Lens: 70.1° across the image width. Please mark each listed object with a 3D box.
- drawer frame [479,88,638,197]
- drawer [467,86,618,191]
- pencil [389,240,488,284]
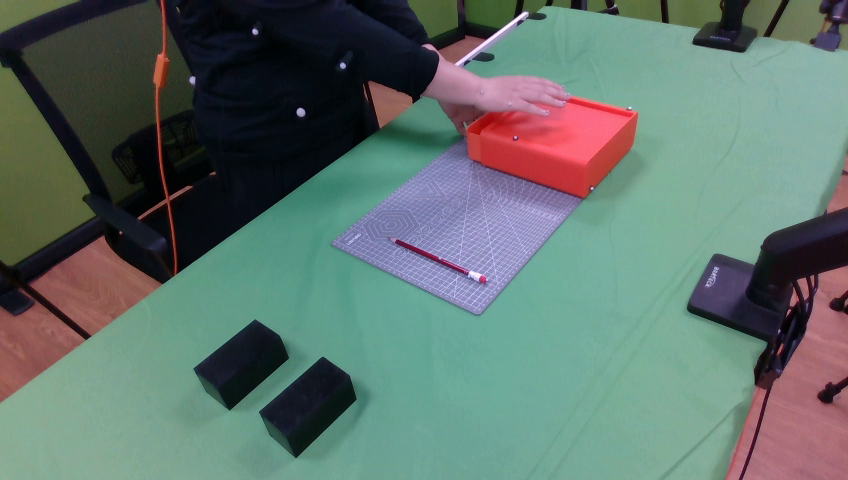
[{"bbox_3d":[0.244,-0.184,1.101,0.212,0.083,0.202,24,48,30],"label":"drawer frame"},{"bbox_3d":[0.219,-0.193,1.118,0.210,0.073,0.195,25,49,30],"label":"drawer"},{"bbox_3d":[0.018,0.030,0.938,0.192,0.012,0.012,22,48,33],"label":"pencil"}]
